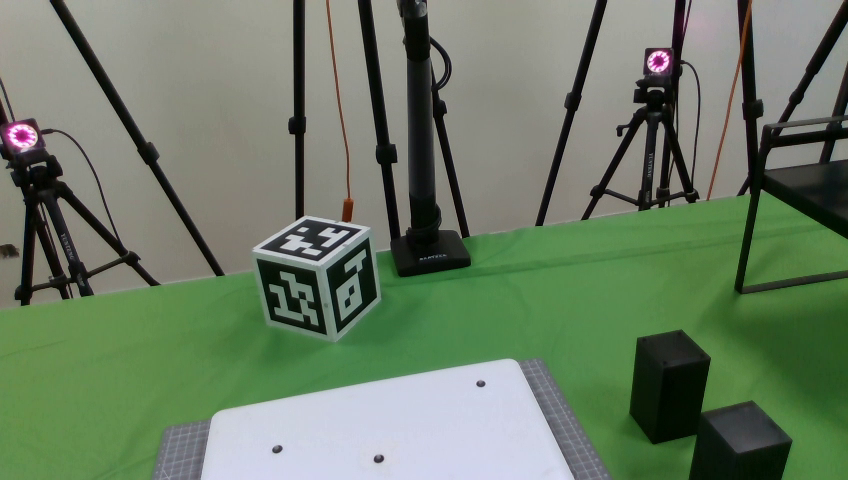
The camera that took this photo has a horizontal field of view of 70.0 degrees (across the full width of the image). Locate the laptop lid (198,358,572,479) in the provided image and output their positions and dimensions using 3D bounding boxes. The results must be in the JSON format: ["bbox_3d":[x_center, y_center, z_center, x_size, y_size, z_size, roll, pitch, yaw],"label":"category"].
[{"bbox_3d":[-0.046,0.219,0.600,0.357,0.013,0.239,-8,29,-6],"label":"laptop lid"}]

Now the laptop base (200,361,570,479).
[{"bbox_3d":[-0.045,0.229,0.608,0.355,0.023,0.233,-8,30,-8],"label":"laptop base"}]
